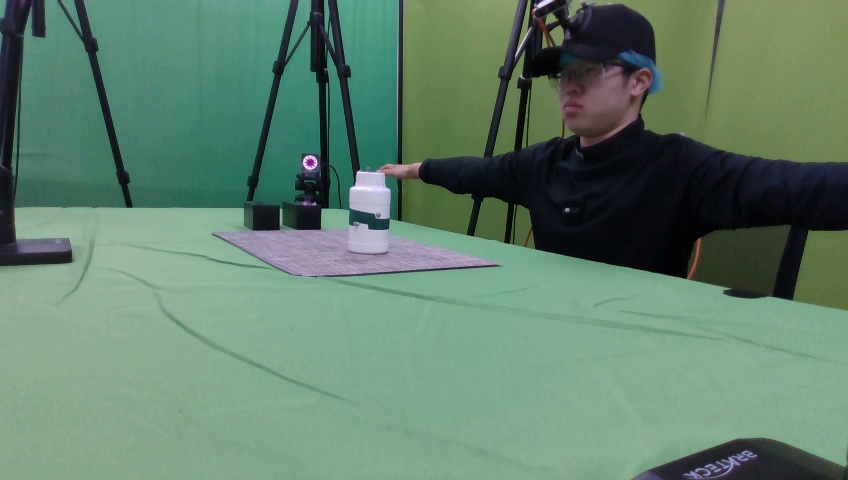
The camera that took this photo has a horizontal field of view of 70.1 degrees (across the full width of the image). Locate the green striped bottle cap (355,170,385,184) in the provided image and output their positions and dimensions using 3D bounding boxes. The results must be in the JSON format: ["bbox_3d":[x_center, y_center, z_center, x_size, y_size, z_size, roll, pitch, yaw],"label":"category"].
[{"bbox_3d":[-0.080,-0.094,0.907,0.044,0.020,0.044,3,9,0],"label":"green striped bottle cap"}]

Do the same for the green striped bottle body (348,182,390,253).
[{"bbox_3d":[-0.083,-0.043,0.913,0.063,0.119,0.063,2,7,0],"label":"green striped bottle body"}]
